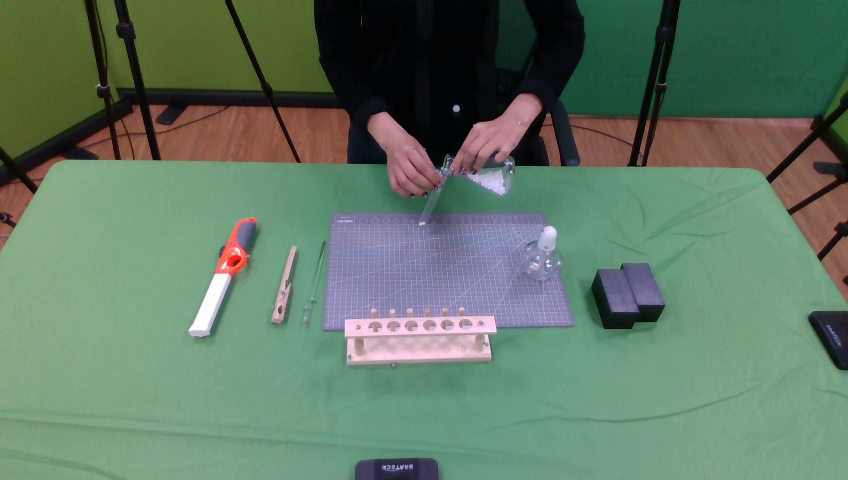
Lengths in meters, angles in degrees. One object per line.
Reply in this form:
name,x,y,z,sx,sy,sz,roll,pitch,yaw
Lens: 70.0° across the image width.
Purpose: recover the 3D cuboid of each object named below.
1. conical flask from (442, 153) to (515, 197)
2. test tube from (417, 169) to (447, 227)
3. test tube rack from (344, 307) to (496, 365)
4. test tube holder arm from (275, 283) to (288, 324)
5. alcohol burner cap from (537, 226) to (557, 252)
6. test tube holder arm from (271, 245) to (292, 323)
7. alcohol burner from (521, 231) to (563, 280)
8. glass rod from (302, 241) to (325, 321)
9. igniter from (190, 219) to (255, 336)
conical flask,0.094,-0.124,1.074,0.122,0.075,0.075,10,45,-9
test tube,0.014,-0.076,1.131,0.017,0.151,0.017,11,48,-12
test tube rack,-0.009,0.154,1.007,0.242,0.085,0.066,-1,46,-5
test tube holder arm,-0.254,0.111,1.077,0.010,0.015,0.087,30,38,-28
alcohol burner cap,0.226,-0.004,1.104,0.034,0.048,0.033,-1,50,1
test tube holder arm,-0.259,0.076,1.106,0.013,0.015,0.177,28,38,-29
alcohol burner,0.224,0.020,1.131,0.078,0.119,0.077,4,46,-4
glass rod,-0.203,0.071,1.124,0.008,0.008,0.198,4,44,1
igniter,-0.365,0.058,1.110,0.057,0.025,0.275,-1,45,8
